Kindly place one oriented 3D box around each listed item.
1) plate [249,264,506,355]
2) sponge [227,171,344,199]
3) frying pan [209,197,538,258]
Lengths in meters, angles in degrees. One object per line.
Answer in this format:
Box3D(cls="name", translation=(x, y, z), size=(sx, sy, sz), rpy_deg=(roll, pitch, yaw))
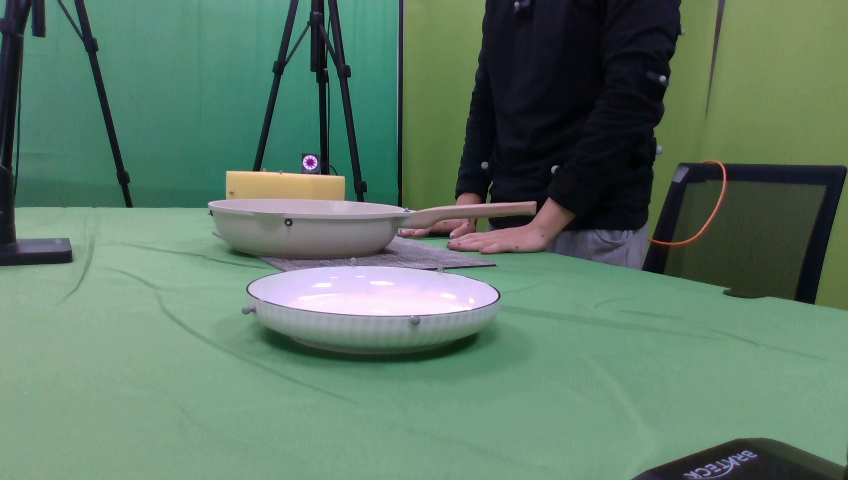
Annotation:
Box3D(cls="plate", translation=(-0.037, 0.056, 0.504), size=(0.208, 0.039, 0.207), rpy_deg=(2, 7, 0))
Box3D(cls="sponge", translation=(-0.283, -0.108, 1.242), size=(0.206, 0.061, 0.118), rpy_deg=(5, 8, 23))
Box3D(cls="frying pan", translation=(-0.075, -0.034, 0.912), size=(0.487, 0.102, 0.307), rpy_deg=(-5, 7, 12))
